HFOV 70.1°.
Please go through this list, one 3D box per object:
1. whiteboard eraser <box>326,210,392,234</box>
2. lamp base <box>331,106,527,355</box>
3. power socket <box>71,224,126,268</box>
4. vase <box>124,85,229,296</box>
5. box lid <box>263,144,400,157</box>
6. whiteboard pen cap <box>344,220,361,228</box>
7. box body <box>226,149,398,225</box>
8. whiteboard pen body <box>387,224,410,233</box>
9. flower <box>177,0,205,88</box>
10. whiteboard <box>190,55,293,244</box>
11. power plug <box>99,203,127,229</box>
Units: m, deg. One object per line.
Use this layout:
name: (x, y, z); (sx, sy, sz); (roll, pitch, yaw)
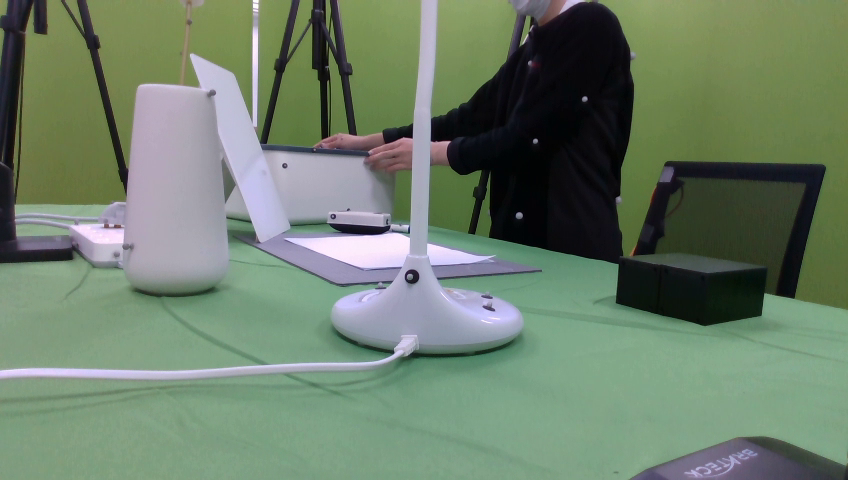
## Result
whiteboard eraser: (-0.121, -0.034, 1.131); (0.112, 0.042, 0.056); (4, 8, 13)
lamp base: (0.006, -0.012, 0.478); (0.161, 0.180, 0.179); (2, 10, 2)
power socket: (-0.409, 0.004, 0.793); (0.072, 0.032, 0.225); (-2, 8, -37)
vase: (-0.244, -0.047, 0.598); (0.098, 0.200, 0.098); (3, 8, 0)
box lid: (-0.263, -0.203, 1.369); (0.262, 0.015, 0.373); (9, 10, 39)
whiteboard pen cap: (-0.144, -0.032, 1.230); (0.033, 0.018, 0.018); (6, 8, 17)
box body: (-0.265, -0.129, 1.379); (0.253, 0.160, 0.366); (8, 9, 39)
whiteboard pen body: (-0.088, -0.026, 1.213); (0.140, 0.017, 0.017); (5, 8, 18)
flower: (-0.243, -0.131, 0.609); (0.044, 0.361, 0.038); (-5, -12, 12)
whiteboard: (-0.362, -0.129, 1.029); (0.144, 0.305, 0.217); (-18, 7, 3)
power plug: (-0.415, -0.026, 0.848); (0.073, 0.052, 0.035); (6, 5, -28)
